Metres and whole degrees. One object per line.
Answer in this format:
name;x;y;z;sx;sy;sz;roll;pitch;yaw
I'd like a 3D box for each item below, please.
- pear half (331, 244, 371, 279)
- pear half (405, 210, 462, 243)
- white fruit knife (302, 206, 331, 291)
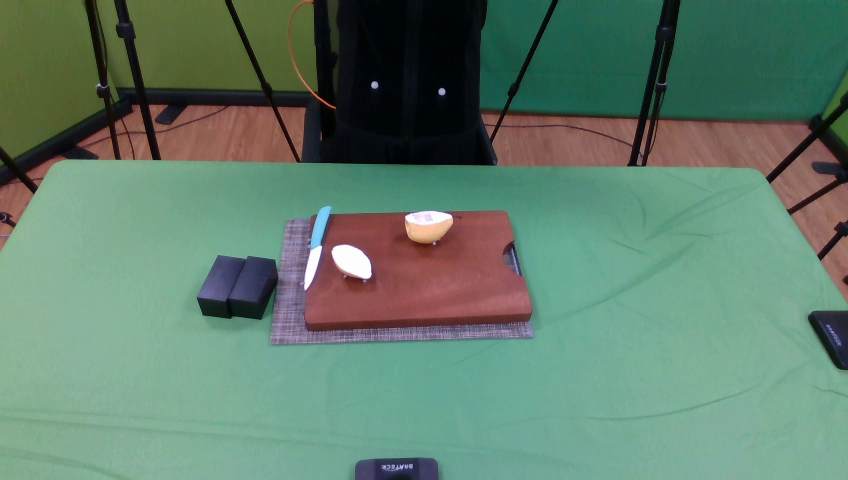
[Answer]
pear half;-0.133;0.045;1.097;0.070;0.031;0.087;-22;63;-42
pear half;0.021;-0.026;1.160;0.110;0.056;0.076;-9;29;-9
white fruit knife;-0.204;0.012;1.136;0.027;0.016;0.206;-5;48;12
